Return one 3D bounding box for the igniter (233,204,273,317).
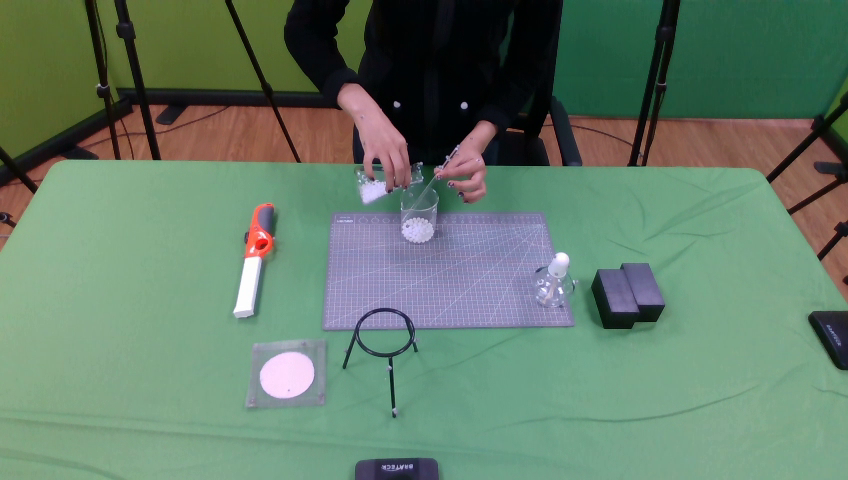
[{"bbox_3d":[-0.321,0.029,1.142,0.057,0.025,0.274,-7,46,4],"label":"igniter"}]

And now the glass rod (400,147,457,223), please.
[{"bbox_3d":[0.006,-0.102,1.145,0.008,0.200,0.008,26,35,-19],"label":"glass rod"}]

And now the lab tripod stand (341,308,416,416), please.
[{"bbox_3d":[-0.061,0.177,0.946,0.148,0.132,0.147,2,44,-2],"label":"lab tripod stand"}]

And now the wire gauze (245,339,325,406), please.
[{"bbox_3d":[-0.224,0.214,0.984,0.125,0.011,0.120,-2,46,-5],"label":"wire gauze"}]

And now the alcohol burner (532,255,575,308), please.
[{"bbox_3d":[0.235,0.066,1.087,0.078,0.119,0.077,4,45,-3],"label":"alcohol burner"}]

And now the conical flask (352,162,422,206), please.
[{"bbox_3d":[-0.066,-0.112,1.121,0.122,0.076,0.075,-13,47,-1],"label":"conical flask"}]

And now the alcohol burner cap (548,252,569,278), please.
[{"bbox_3d":[0.238,0.042,1.060,0.034,0.048,0.033,1,53,-1],"label":"alcohol burner cap"}]

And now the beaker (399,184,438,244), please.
[{"bbox_3d":[-0.015,-0.046,1.186,0.073,0.101,0.084,36,54,27],"label":"beaker"}]
